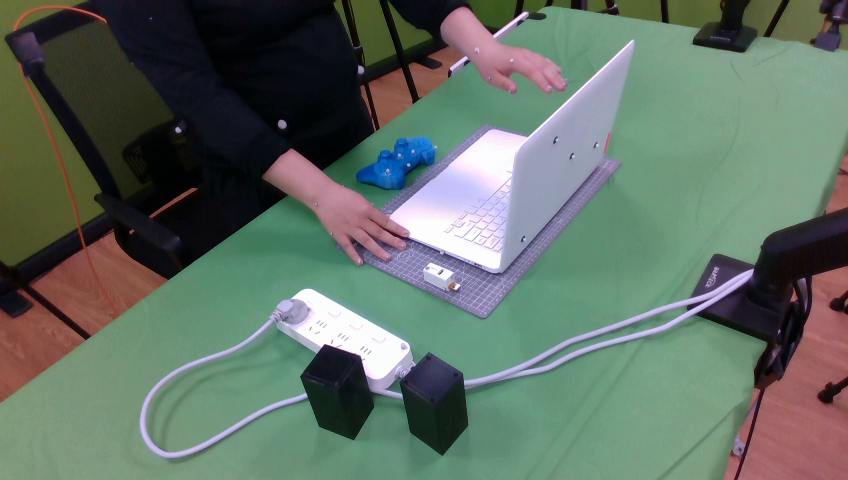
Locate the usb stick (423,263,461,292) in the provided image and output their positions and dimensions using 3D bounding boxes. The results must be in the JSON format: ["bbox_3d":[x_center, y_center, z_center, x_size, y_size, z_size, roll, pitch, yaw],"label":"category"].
[{"bbox_3d":[0.028,0.058,0.888,0.058,0.027,0.021,24,49,31],"label":"usb stick"}]

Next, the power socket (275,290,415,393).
[{"bbox_3d":[-0.114,0.132,0.821,0.225,0.033,0.072,24,48,32],"label":"power socket"}]

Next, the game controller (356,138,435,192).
[{"bbox_3d":[-0.049,-0.149,1.136,0.096,0.052,0.155,27,51,28],"label":"game controller"}]

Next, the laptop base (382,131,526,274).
[{"bbox_3d":[0.123,-0.081,1.049,0.233,0.023,0.355,20,47,33],"label":"laptop base"}]

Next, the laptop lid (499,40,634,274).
[{"bbox_3d":[0.218,-0.127,0.905,0.013,0.242,0.358,28,50,25],"label":"laptop lid"}]

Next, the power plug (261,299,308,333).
[{"bbox_3d":[-0.193,0.110,0.830,0.073,0.053,0.035,-36,48,-23],"label":"power plug"}]
